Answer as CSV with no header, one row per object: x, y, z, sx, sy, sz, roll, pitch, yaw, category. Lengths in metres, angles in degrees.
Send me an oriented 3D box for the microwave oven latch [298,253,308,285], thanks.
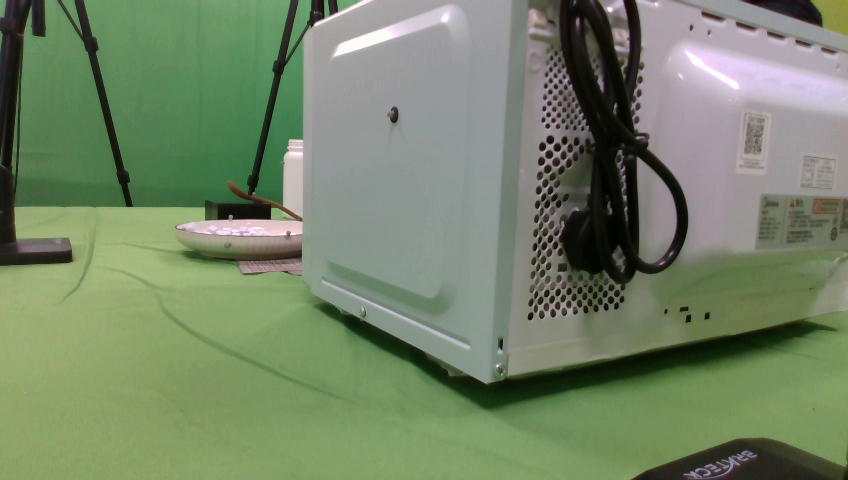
-0.081,0.027,0.583,0.079,0.029,0.030,-2,8,-33,microwave oven latch

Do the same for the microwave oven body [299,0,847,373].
0.152,-0.055,0.542,0.444,0.260,0.324,-2,7,-32,microwave oven body

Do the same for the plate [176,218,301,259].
-0.248,-0.003,0.877,0.209,0.038,0.209,1,8,0,plate

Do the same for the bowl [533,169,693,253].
0.181,-0.030,0.596,0.151,0.077,0.151,1,7,0,bowl

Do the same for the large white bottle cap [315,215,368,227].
-0.177,-0.041,1.308,0.115,0.018,0.115,2,6,0,large white bottle cap

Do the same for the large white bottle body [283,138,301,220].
-0.265,-0.143,1.423,0.131,0.184,0.130,2,7,0,large white bottle body

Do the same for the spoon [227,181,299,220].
-0.315,-0.074,1.235,0.195,0.021,0.041,24,-10,-37,spoon

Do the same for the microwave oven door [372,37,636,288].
0.110,-0.080,0.686,0.358,0.243,0.039,-2,9,-33,microwave oven door
